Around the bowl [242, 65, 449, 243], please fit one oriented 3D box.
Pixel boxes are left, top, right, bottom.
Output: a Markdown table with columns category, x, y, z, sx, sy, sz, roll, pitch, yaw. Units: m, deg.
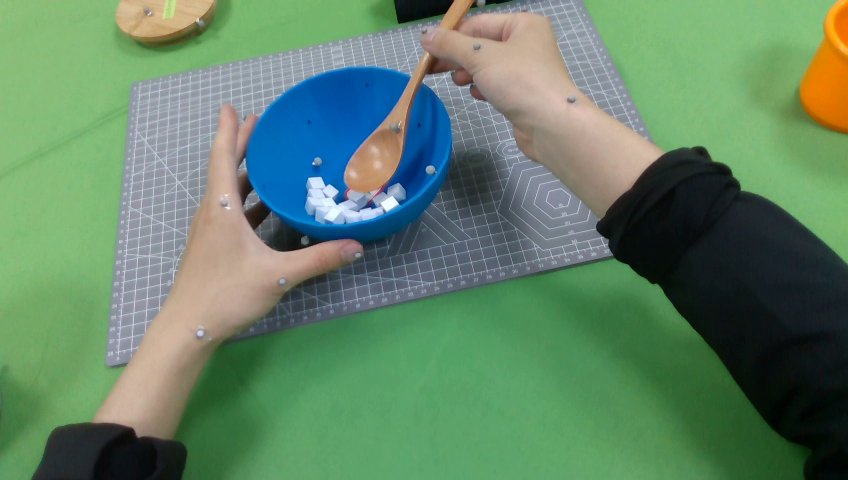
| category | x | y | z | sx | sy | sz | roll | pitch | yaw |
| --- | --- | --- | --- | --- | --- | --- | --- | --- | --- |
| bowl | -0.053 | -0.052 | 0.465 | 0.151 | 0.077 | 0.150 | -3 | 59 | 6 |

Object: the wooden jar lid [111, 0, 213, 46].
| category | x | y | z | sx | sy | sz | roll | pitch | yaw |
| --- | --- | --- | --- | --- | --- | --- | --- | --- | --- |
| wooden jar lid | -0.274 | -0.244 | 0.642 | 0.108 | 0.021 | 0.107 | -2 | 59 | 3 |

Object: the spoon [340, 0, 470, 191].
| category | x | y | z | sx | sy | sz | roll | pitch | yaw |
| --- | --- | --- | --- | --- | --- | --- | --- | --- | --- |
| spoon | -0.005 | -0.120 | 0.440 | 0.041 | 0.022 | 0.194 | 36 | 101 | 32 |
